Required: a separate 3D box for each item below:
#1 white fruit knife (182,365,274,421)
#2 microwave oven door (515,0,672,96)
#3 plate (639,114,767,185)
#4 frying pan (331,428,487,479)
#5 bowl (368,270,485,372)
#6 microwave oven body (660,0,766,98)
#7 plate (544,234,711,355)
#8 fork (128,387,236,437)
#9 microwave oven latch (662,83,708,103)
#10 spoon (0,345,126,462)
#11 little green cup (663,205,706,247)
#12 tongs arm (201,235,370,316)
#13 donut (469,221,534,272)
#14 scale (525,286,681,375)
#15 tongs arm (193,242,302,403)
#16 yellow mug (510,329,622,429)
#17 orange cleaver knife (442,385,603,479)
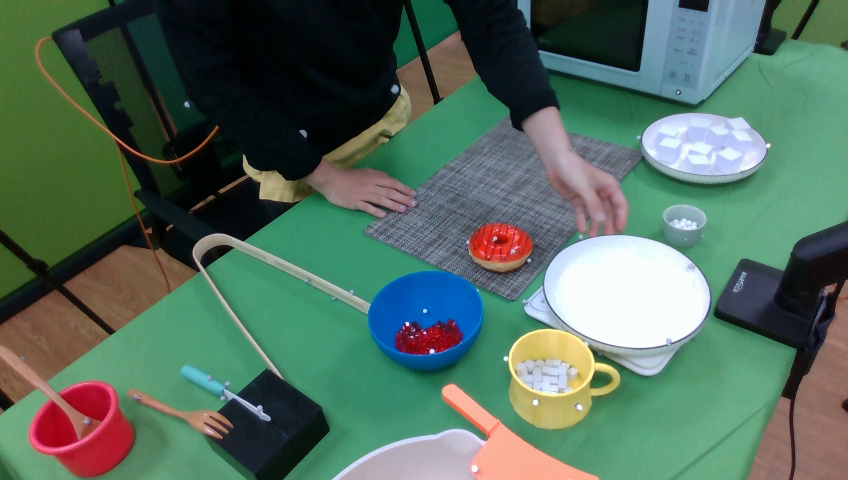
[{"bbox_3d":[-0.245,0.188,0.747,0.205,0.027,0.016,9,41,41],"label":"white fruit knife"},{"bbox_3d":[0.343,-0.454,1.258,0.353,0.245,0.039,26,51,33],"label":"microwave oven door"},{"bbox_3d":[0.489,-0.157,1.074,0.207,0.039,0.206,-4,40,4],"label":"plate"},{"bbox_3d":[-0.089,0.305,0.564,0.487,0.103,0.306,10,41,7],"label":"frying pan"},{"bbox_3d":[0.007,0.119,0.791,0.151,0.077,0.150,-5,39,4],"label":"bowl"},{"bbox_3d":[0.472,-0.513,1.317,0.438,0.261,0.327,26,51,34],"label":"microwave oven body"},{"bbox_3d":[0.262,0.072,0.792,0.209,0.038,0.208,-4,41,4],"label":"plate"},{"bbox_3d":[-0.305,0.208,0.744,0.206,0.019,0.028,3,41,36],"label":"fork"},{"bbox_3d":[0.517,-0.296,1.204,0.078,0.029,0.030,28,52,35],"label":"microwave oven latch"},{"bbox_3d":[-0.434,0.192,0.720,0.194,0.021,0.042,47,53,-6],"label":"spoon"},{"bbox_3d":[0.396,-0.020,0.926,0.061,0.039,0.061,-4,40,4],"label":"little green cup"},{"bbox_3d":[-0.209,0.061,0.924,0.381,0.026,0.051,23,53,33],"label":"tongs arm"},{"bbox_3d":[0.118,0.009,0.923,0.099,0.048,0.098,-3,39,3],"label":"donut"},{"bbox_3d":[0.254,0.092,0.821,0.199,0.032,0.149,27,51,35],"label":"scale"},{"bbox_3d":[-0.268,0.108,0.883,0.028,0.028,0.384,-35,46,-18],"label":"tongs arm"},{"bbox_3d":[0.168,0.164,0.721,0.130,0.064,0.099,0,40,8],"label":"yellow mug"},{"bbox_3d":[0.086,0.219,0.612,0.209,0.012,0.077,28,49,35],"label":"orange cleaver knife"}]
